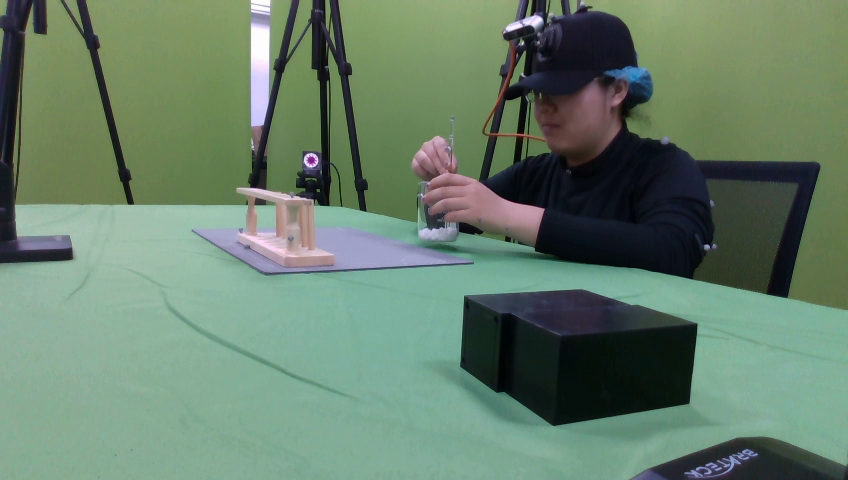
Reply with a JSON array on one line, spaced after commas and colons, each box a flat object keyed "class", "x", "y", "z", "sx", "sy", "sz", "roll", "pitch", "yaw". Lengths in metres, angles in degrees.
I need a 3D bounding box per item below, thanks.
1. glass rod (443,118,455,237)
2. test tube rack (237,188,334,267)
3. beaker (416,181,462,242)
[{"class": "glass rod", "x": 0.041, "y": -0.103, "z": 1.009, "sx": 0.008, "sy": 0.199, "sz": 0.008, "roll": 4, "pitch": 4, "yaw": 0}, {"class": "test tube rack", "x": -0.202, "y": -0.024, "z": 0.855, "sx": 0.067, "sy": 0.085, "sz": 0.241, "roll": -2, "pitch": 8, "yaw": -30}, {"class": "beaker", "x": 0.028, "y": -0.047, "z": 1.008, "sx": 0.083, "sy": 0.100, "sz": 0.074, "roll": 4, "pitch": 6, "yaw": 39}]
